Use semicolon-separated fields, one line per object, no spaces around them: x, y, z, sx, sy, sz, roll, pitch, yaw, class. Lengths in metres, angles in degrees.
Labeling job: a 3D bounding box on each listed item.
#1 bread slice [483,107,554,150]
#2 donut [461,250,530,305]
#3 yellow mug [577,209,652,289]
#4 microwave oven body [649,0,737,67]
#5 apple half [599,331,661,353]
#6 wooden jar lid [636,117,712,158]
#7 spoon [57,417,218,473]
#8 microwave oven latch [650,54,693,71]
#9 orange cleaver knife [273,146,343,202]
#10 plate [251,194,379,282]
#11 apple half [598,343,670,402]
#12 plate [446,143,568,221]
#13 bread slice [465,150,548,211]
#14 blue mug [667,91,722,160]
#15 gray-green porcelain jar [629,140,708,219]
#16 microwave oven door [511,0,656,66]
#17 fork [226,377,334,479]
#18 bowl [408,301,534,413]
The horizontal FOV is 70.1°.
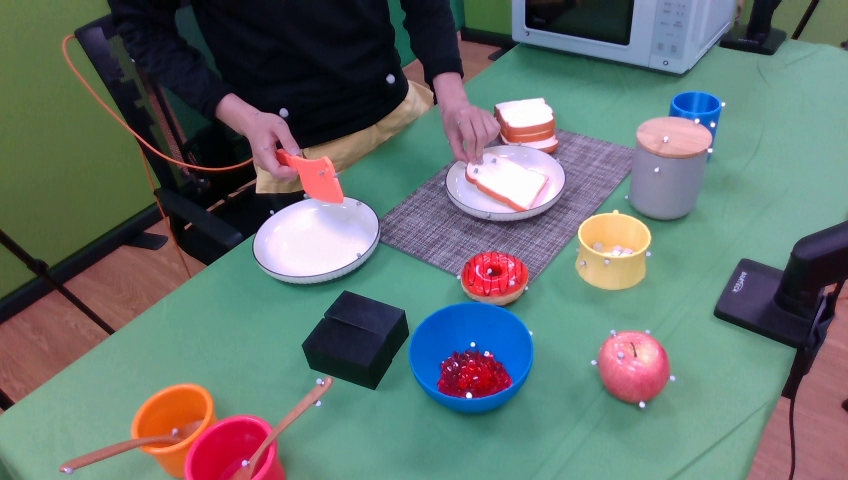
0.185;-0.203;1.161;0.105;0.019;0.130;-22;44;-6;bread slice
0.103;0.053;0.872;0.099;0.048;0.098;-5;40;4;donut
0.279;0.004;0.893;0.099;0.064;0.130;5;41;15;yellow mug
0.475;-0.602;1.411;0.438;0.261;0.327;23;50;32;microwave oven body
0.249;0.134;0.738;0.081;0.081;0.032;-2;46;7;apple half
0.377;-0.151;0.917;0.108;0.021;0.108;-2;42;3;wooden jar lid
-0.304;0.221;0.661;0.041;0.195;0.021;19;92;27;spoon
0.531;-0.386;1.301;0.078;0.029;0.030;26;51;33;microwave oven latch
-0.178;-0.102;0.913;0.012;0.077;0.209;-24;27;-29;orange cleaver knife
-0.174;-0.001;0.984;0.209;0.038;0.208;-4;41;4;plate
0.247;0.161;0.710;0.081;0.075;0.053;2;47;5;apple half
0.142;-0.097;1.045;0.207;0.039;0.206;-4;40;4;plate
0.136;-0.104;1.031;0.134;0.018;0.107;28;43;7;bread slice
0.474;-0.207;1.079;0.082;0.106;0.116;4;42;13;blue mug
0.383;-0.105;0.958;0.106;0.127;0.105;-4;41;4;gray-green porcelain jar
0.350;-0.539;1.349;0.353;0.245;0.039;24;50;31;microwave oven door
-0.163;0.216;0.647;0.207;0.019;0.028;-49;42;16;fork
0.059;0.156;0.739;0.151;0.077;0.150;-4;40;4;bowl
